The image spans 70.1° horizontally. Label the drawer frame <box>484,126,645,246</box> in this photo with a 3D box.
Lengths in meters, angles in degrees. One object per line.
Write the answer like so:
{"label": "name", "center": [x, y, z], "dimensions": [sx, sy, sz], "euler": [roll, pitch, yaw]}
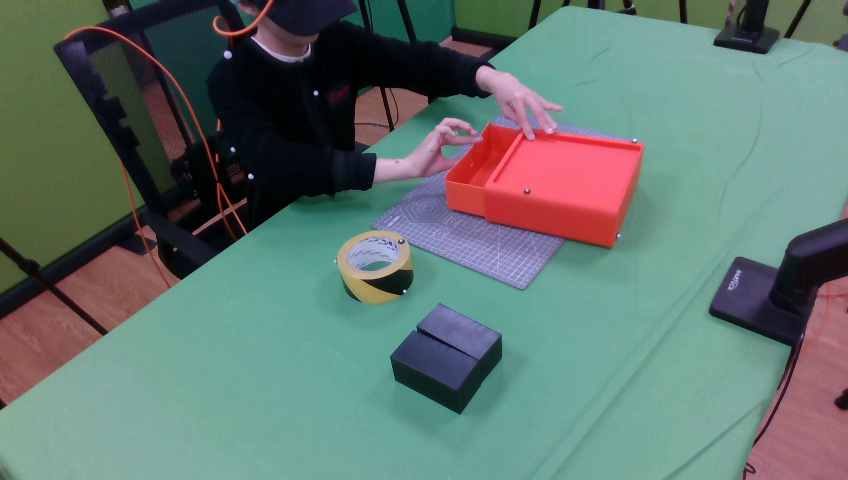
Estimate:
{"label": "drawer frame", "center": [0.234, -0.096, 1.003], "dimensions": [0.212, 0.083, 0.202], "euler": [13, 44, 22]}

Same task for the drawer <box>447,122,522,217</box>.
{"label": "drawer", "center": [0.174, -0.110, 1.032], "dimensions": [0.210, 0.073, 0.195], "euler": [16, 44, 23]}

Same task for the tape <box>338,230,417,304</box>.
{"label": "tape", "center": [-0.069, 0.041, 0.917], "dimensions": [0.117, 0.053, 0.116], "euler": [-4, 41, 4]}
